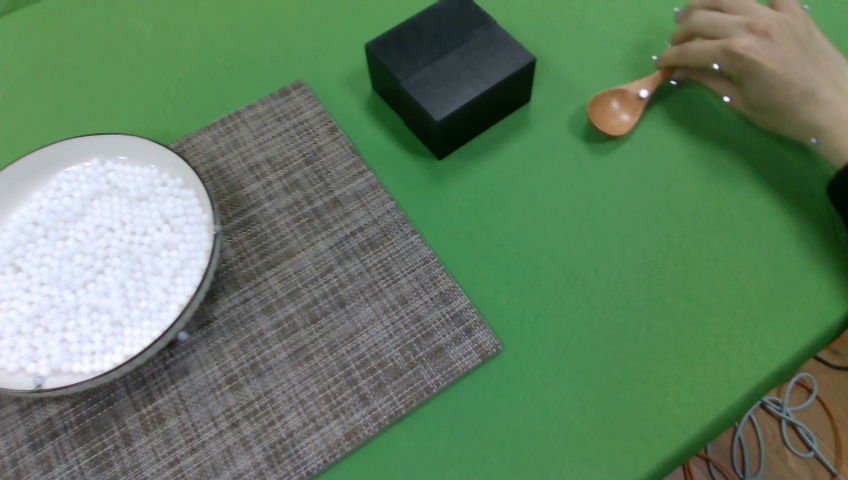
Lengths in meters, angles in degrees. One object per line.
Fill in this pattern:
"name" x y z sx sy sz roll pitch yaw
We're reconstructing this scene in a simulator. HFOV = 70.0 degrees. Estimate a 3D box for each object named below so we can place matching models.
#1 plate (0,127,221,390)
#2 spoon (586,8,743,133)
"plate" -0.251 0.010 0.447 0.209 0.038 0.207 -1 63 2
"spoon" 0.210 -0.149 0.515 0.193 0.022 0.041 -36 81 -13
